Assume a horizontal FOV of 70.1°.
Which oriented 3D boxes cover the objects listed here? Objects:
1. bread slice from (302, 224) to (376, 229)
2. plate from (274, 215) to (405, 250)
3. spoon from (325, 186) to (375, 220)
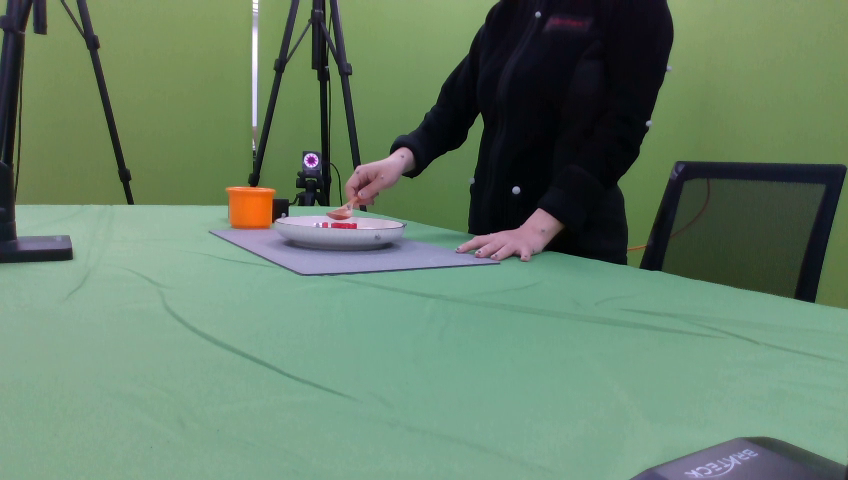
[{"bbox_3d":[-0.134,-0.011,0.974,0.135,0.018,0.106,-2,8,-33],"label":"bread slice"},{"bbox_3d":[-0.136,-0.013,0.981,0.209,0.038,0.209,2,7,0],"label":"plate"},{"bbox_3d":[-0.120,-0.069,1.050,0.041,0.021,0.194,11,25,13],"label":"spoon"}]
